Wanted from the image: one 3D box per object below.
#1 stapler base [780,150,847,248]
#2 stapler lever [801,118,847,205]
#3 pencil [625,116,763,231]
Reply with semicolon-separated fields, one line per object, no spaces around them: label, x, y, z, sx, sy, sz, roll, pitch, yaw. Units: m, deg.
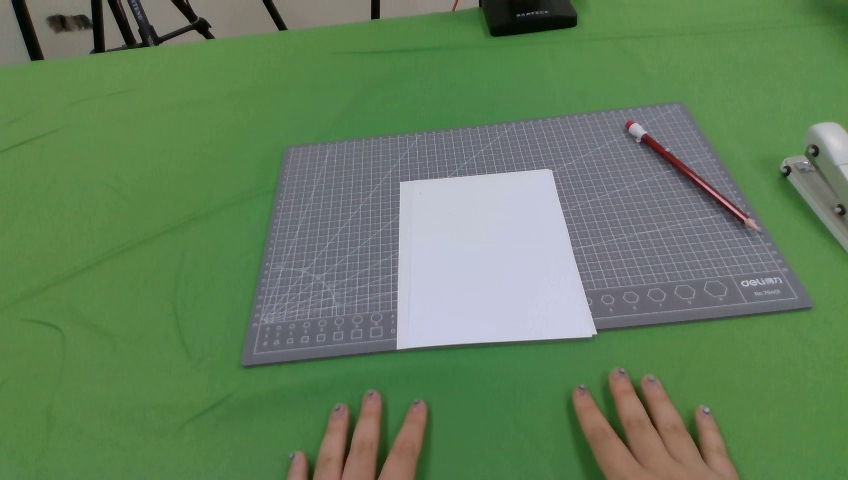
stapler base;0.368;-0.044;0.539;0.041;0.025;0.129;-9;47;2
stapler lever;0.365;-0.060;0.520;0.027;0.040;0.117;-10;46;2
pencil;0.254;-0.068;0.583;0.012;0.012;0.192;-20;47;-12
